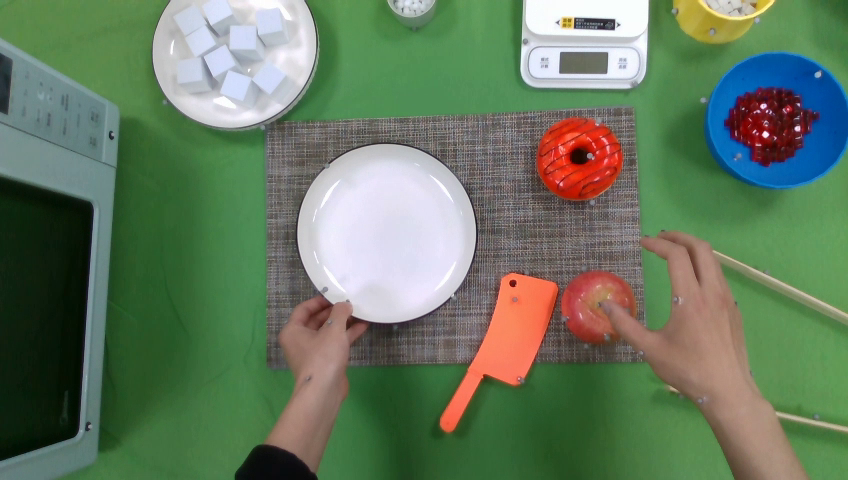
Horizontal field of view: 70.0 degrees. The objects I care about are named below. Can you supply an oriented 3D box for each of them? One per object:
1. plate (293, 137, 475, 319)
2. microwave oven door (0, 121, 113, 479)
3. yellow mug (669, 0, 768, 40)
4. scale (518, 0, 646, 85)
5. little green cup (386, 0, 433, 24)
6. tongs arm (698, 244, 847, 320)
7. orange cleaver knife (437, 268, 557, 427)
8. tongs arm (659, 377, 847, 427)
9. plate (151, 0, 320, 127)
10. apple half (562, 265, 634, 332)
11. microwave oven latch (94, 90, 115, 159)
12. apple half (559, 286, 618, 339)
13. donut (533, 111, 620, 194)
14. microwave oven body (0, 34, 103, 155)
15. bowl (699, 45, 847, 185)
[{"bbox_3d":[-0.045,-0.014,0.705,0.209,0.038,0.209,0,90,-1],"label":"plate"},{"bbox_3d":[-0.410,0.069,0.616,0.039,0.244,0.355,0,85,4],"label":"microwave oven door"},{"bbox_3d":[0.337,-0.307,0.704,0.100,0.064,0.130,-34,83,1],"label":"yellow mug"},{"bbox_3d":[0.191,-0.289,0.730,0.148,0.031,0.200,3,86,5],"label":"scale"},{"bbox_3d":[-0.017,-0.298,0.742,0.061,0.039,0.061,0,84,4],"label":"little green cup"},{"bbox_3d":[0.488,0.100,0.678,0.387,0.028,0.028,28,79,6],"label":"tongs arm"},{"bbox_3d":[0.085,0.128,0.702,0.077,0.012,0.211,28,85,0],"label":"orange cleaver knife"},{"bbox_3d":[0.459,0.181,0.669,0.384,0.026,0.050,14,81,5],"label":"tongs arm"},{"bbox_3d":[-0.229,-0.238,0.751,0.207,0.039,0.207,0,85,4],"label":"plate"},{"bbox_3d":[0.200,0.059,0.675,0.080,0.075,0.053,40,85,9],"label":"apple half"},{"bbox_3d":[-0.395,-0.139,0.735,0.030,0.029,0.079,3,86,4],"label":"microwave oven latch"},{"bbox_3d":[0.174,0.088,0.673,0.081,0.081,0.033,41,86,7],"label":"apple half"},{"bbox_3d":[0.176,-0.102,0.705,0.099,0.048,0.099,0,86,6],"label":"donut"},{"bbox_3d":[-0.554,0.025,0.635,0.326,0.261,0.440,1,86,4],"label":"microwave oven body"},{"bbox_3d":[0.376,-0.130,0.681,0.151,0.077,0.151,0,86,4],"label":"bowl"}]
